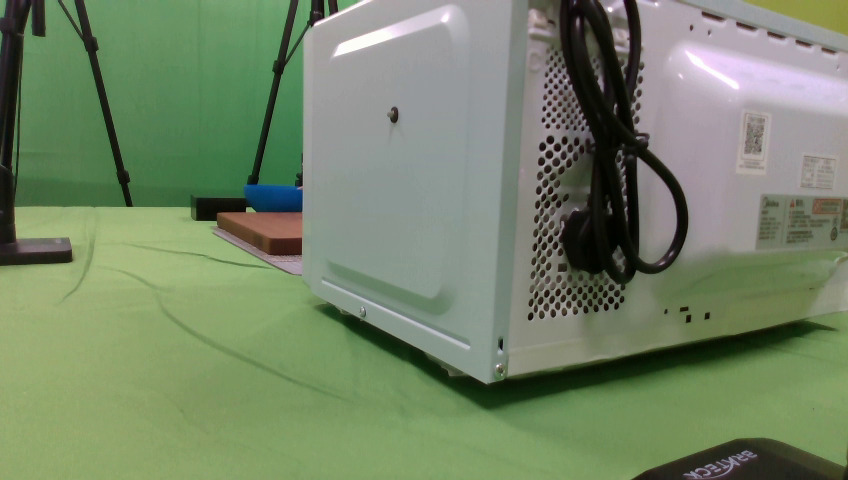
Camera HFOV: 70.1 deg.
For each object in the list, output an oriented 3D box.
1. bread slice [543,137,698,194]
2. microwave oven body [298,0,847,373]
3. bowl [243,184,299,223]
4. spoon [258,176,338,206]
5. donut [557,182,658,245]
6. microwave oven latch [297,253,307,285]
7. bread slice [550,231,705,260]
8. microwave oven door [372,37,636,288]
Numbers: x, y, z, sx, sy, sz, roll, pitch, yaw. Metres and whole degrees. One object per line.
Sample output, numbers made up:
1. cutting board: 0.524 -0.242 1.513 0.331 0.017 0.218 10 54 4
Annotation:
1. bread slice: 0.200 -0.074 0.602 0.107 0.018 0.133 -1 22 -45
2. microwave oven body: 0.151 -0.055 0.543 0.444 0.260 0.324 -1 7 -33
3. bowl: -0.321 -0.081 1.334 0.151 0.077 0.151 3 7 0
4. spoon: -0.279 -0.112 1.356 0.194 0.021 0.041 -28 18 -27
5. donut: 0.184 -0.028 0.609 0.099 0.048 0.099 12 -11 3
6. microwave oven latch: -0.082 0.027 0.583 0.079 0.029 0.030 -1 8 -33
7. bread slice: 0.202 0.006 0.586 0.105 0.019 0.131 7 -4 -22
8. microwave oven door: 0.110 -0.080 0.686 0.358 0.243 0.039 -2 9 -33
